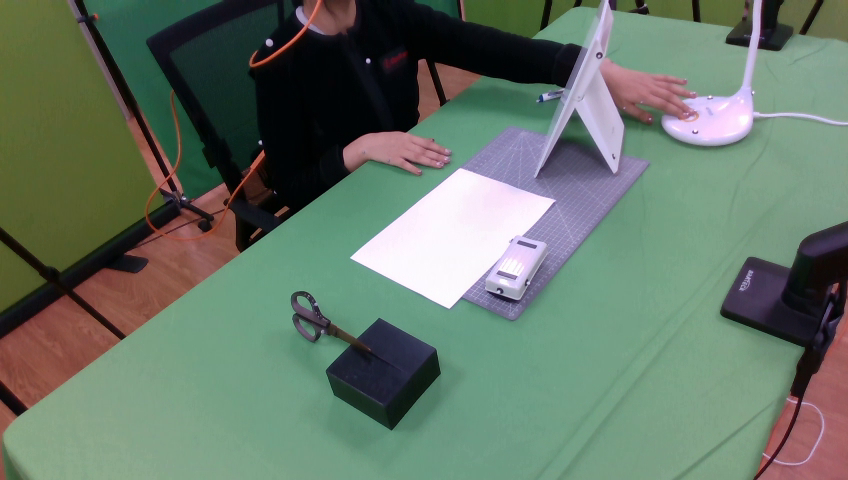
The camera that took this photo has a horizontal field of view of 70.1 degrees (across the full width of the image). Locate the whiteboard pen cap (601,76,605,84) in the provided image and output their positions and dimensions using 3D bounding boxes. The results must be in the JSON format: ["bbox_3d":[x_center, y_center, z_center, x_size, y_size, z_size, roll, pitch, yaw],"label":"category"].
[{"bbox_3d":[0.372,-0.340,1.305,0.033,0.018,0.018,-17,41,-1],"label":"whiteboard pen cap"}]

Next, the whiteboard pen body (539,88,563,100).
[{"bbox_3d":[0.315,-0.325,1.303,0.141,0.017,0.017,-15,41,-2],"label":"whiteboard pen body"}]

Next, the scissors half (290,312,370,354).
[{"bbox_3d":[-0.128,0.129,0.816,0.013,0.040,0.173,-23,22,-40],"label":"scissors half"}]

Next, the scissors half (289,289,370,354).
[{"bbox_3d":[-0.128,0.110,0.809,0.013,0.040,0.173,-17,36,-43],"label":"scissors half"}]

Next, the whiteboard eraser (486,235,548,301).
[{"bbox_3d":[0.137,0.042,0.887,0.055,0.042,0.113,15,46,27],"label":"whiteboard eraser"}]

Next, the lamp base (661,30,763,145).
[{"bbox_3d":[0.535,-0.287,1.096,0.179,0.181,0.159,-10,40,-4],"label":"lamp base"}]

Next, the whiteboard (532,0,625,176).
[{"bbox_3d":[0.320,-0.258,1.050,0.144,0.306,0.217,21,45,5],"label":"whiteboard"}]
